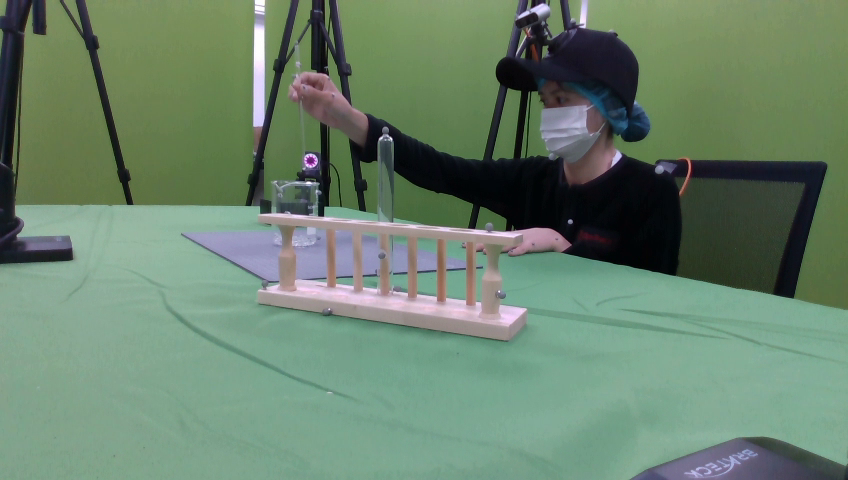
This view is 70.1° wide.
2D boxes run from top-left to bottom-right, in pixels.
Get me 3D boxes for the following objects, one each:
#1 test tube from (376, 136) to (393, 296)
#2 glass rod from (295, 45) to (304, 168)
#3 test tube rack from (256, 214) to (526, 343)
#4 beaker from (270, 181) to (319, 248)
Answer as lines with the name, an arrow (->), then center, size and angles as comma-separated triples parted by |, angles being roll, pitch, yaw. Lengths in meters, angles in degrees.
test tube -> -0.037, -0.021, 0.565 | 0.017, 0.150, 0.017 | 1, 6, 0
glass rod -> -0.205, -0.220, 0.998 | 0.008, 0.199, 0.008 | -2, 6, 0
test tube rack -> -0.032, 0.027, 0.547 | 0.241, 0.085, 0.067 | 5, 7, 22
beaker -> -0.203, -0.040, 0.935 | 0.074, 0.100, 0.084 | 5, 8, 18
